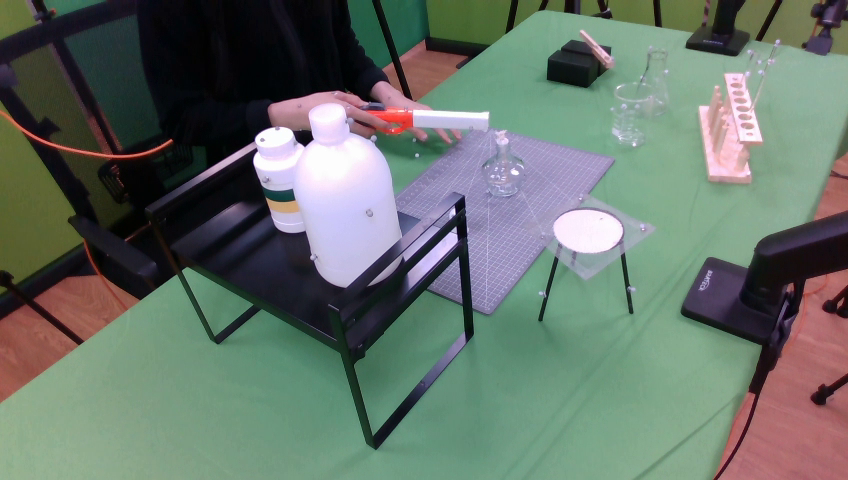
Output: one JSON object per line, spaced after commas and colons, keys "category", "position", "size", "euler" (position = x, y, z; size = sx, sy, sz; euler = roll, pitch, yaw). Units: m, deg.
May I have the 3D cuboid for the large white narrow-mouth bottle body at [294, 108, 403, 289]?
{"category": "large white narrow-mouth bottle body", "position": [-0.082, -0.047, 0.634], "size": [0.102, 0.195, 0.101], "euler": [-4, 40, 3]}

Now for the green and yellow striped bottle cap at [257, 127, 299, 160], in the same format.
{"category": "green and yellow striped bottle cap", "position": [-0.169, -0.112, 0.699], "size": [0.045, 0.020, 0.045], "euler": [-5, 41, 5]}

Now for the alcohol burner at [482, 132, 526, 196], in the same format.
{"category": "alcohol burner", "position": [0.137, -0.136, 1.042], "size": [0.078, 0.119, 0.077], "euler": [-4, 43, 4]}

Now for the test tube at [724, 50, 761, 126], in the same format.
{"category": "test tube", "position": [0.570, -0.269, 1.086], "size": [0.017, 0.151, 0.017], "euler": [-1, 46, 1]}

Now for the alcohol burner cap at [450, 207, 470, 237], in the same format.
{"category": "alcohol burner cap", "position": [0.057, -0.032, 0.987], "size": [0.034, 0.048, 0.033], "euler": [-5, 41, 4]}

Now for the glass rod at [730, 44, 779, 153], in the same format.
{"category": "glass rod", "position": [0.555, -0.234, 1.020], "size": [0.008, 0.200, 0.008], "euler": [2, 40, -1]}

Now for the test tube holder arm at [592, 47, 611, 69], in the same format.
{"category": "test tube holder arm", "position": [0.386, -0.398, 1.317], "size": [0.010, 0.015, 0.087], "euler": [-10, 41, -2]}

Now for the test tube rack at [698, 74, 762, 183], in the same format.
{"category": "test tube rack", "position": [0.547, -0.208, 1.095], "size": [0.066, 0.085, 0.242], "euler": [5, 42, 15]}

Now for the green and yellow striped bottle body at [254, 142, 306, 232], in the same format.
{"category": "green and yellow striped bottle body", "position": [-0.165, -0.073, 0.732], "size": [0.063, 0.120, 0.063], "euler": [-4, 41, 4]}

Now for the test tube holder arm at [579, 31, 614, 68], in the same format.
{"category": "test tube holder arm", "position": [0.384, -0.428, 1.351], "size": [0.013, 0.015, 0.177], "euler": [-11, 41, -3]}

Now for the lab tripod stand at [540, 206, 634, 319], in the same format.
{"category": "lab tripod stand", "position": [0.218, 0.034, 0.821], "size": [0.148, 0.132, 0.147], "euler": [-4, 42, 4]}

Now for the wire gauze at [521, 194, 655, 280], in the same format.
{"category": "wire gauze", "position": [0.207, -0.012, 0.772], "size": [0.122, 0.011, 0.124], "euler": [-28, 44, -20]}

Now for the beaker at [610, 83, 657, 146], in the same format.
{"category": "beaker", "position": [0.388, -0.235, 1.137], "size": [0.074, 0.101, 0.083], "euler": [-31, 45, -26]}

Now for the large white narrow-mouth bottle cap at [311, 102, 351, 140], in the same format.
{"category": "large white narrow-mouth bottle cap", "position": [-0.089, -0.114, 0.579], "size": [0.038, 0.024, 0.037], "euler": [-3, 40, 3]}

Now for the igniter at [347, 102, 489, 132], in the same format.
{"category": "igniter", "position": [-0.029, -0.206, 1.025], "size": [0.276, 0.057, 0.025], "euler": [3, 47, 5]}

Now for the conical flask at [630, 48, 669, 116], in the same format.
{"category": "conical flask", "position": [0.457, -0.317, 1.205], "size": [0.075, 0.122, 0.075], "euler": [-4, 41, 4]}
